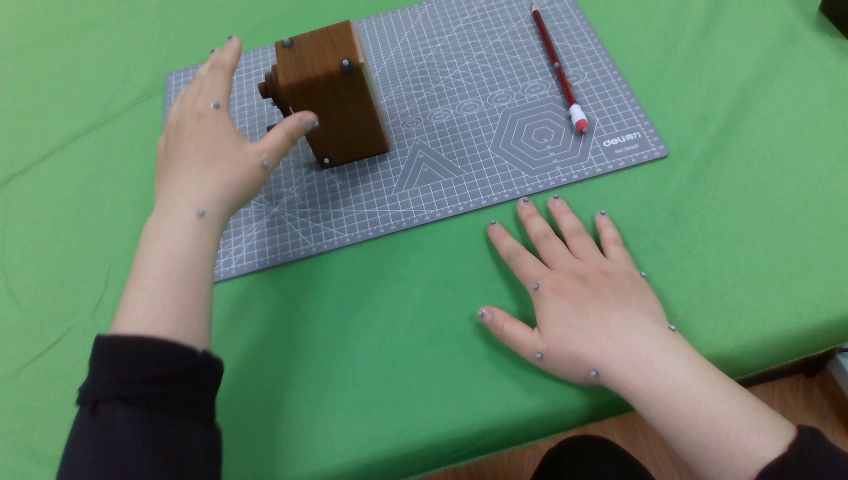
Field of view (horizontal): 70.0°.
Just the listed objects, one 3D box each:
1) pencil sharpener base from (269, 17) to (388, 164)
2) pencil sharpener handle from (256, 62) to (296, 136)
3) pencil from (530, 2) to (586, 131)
[{"bbox_3d":[-0.082,-0.127,0.532,0.077,0.108,0.060,-16,56,1],"label":"pencil sharpener base"},{"bbox_3d":[-0.133,-0.118,0.522,0.030,0.068,0.035,-16,51,1],"label":"pencil sharpener handle"},{"bbox_3d":[0.125,-0.174,0.582,0.012,0.012,0.192,-12,55,4],"label":"pencil"}]
